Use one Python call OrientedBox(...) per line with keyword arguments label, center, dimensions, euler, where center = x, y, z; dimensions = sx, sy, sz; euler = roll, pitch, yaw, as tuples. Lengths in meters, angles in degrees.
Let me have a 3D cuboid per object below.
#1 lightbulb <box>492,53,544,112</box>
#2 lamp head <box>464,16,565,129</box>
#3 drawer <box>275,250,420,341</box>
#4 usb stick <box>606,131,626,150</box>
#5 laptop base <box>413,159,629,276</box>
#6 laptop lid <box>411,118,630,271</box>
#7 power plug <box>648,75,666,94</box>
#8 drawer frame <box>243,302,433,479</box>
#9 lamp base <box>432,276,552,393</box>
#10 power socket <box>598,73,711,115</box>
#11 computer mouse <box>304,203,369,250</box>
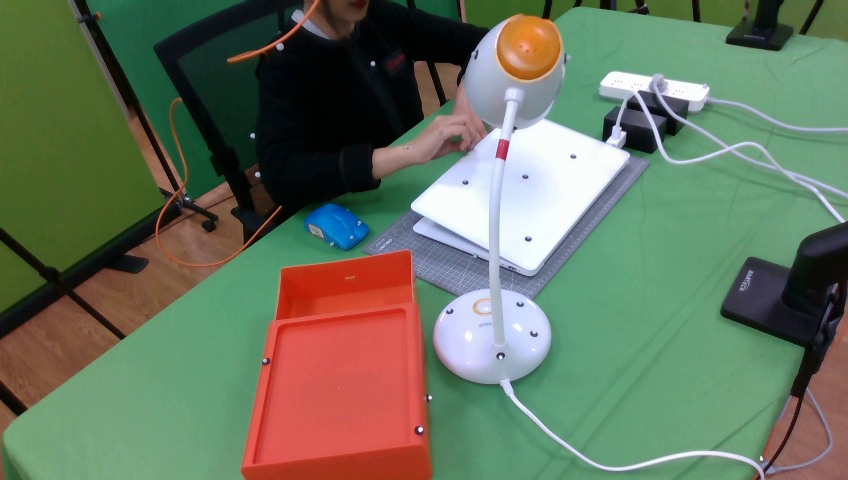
OrientedBox(label="lightbulb", center=(0.108, -0.181, 0.679), dimensions=(0.059, 0.059, 0.108), euler=(-9, -3, 1))
OrientedBox(label="lamp head", center=(0.101, -0.184, 0.655), dimensions=(0.112, 0.112, 0.123), euler=(-9, 0, 0))
OrientedBox(label="drawer", center=(-0.104, 0.117, 0.825), dimensions=(0.194, 0.073, 0.210), euler=(-8, 40, 1))
OrientedBox(label="usb stick", center=(0.349, -0.174, 1.109), dimensions=(0.021, 0.027, 0.059), euler=(19, 51, 33))
OrientedBox(label="laptop base", center=(0.176, -0.077, 1.048), dimensions=(0.233, 0.023, 0.355), euler=(19, 47, 34))
OrientedBox(label="laptop lid", center=(0.172, -0.104, 1.025), dimensions=(0.240, 0.013, 0.358), euler=(30, 53, 25))
OrientedBox(label="power plug", center=(0.457, -0.301, 1.212), dimensions=(0.073, 0.053, 0.035), euler=(-36, 46, -28))
OrientedBox(label="drawer frame", center=(-0.096, 0.185, 0.738), dimensions=(0.202, 0.083, 0.212), euler=(-8, 40, 1))
OrientedBox(label="lamp base", center=(0.085, 0.075, 0.756), dimensions=(0.161, 0.181, 0.178), euler=(-14, 44, -6))
OrientedBox(label="power socket", center=(0.470, -0.303, 1.248), dimensions=(0.225, 0.033, 0.072), euler=(20, 49, 30))
OrientedBox(label="computer mouse", center=(-0.151, -0.027, 1.037), dimensions=(0.116, 0.041, 0.063), euler=(28, 51, 31))
